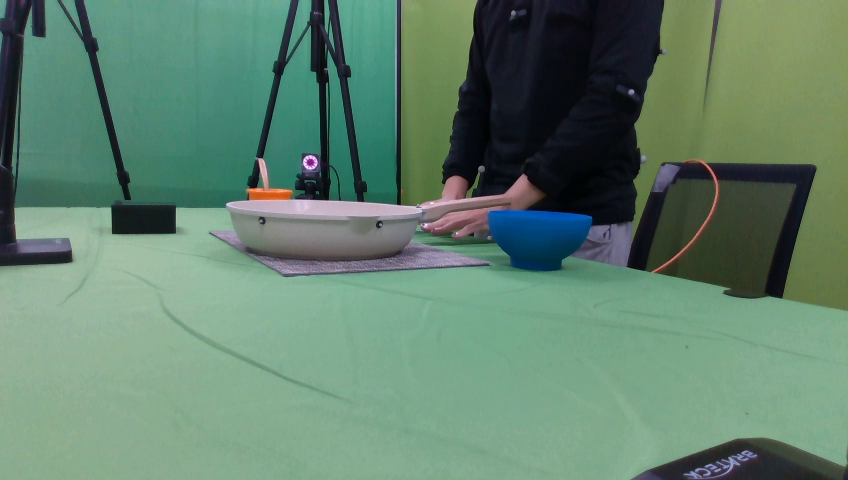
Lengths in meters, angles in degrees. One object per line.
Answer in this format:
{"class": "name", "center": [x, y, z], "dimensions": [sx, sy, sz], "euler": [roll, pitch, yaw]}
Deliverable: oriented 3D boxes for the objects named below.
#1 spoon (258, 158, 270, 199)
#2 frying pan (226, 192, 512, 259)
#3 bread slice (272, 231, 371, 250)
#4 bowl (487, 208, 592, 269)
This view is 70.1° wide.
{"class": "spoon", "center": [-0.332, -0.107, 1.269], "dimensions": [0.042, 0.021, 0.193], "euler": [0, 53, -23]}
{"class": "frying pan", "center": [-0.058, -0.041, 0.975], "dimensions": [0.490, 0.102, 0.305], "euler": [-11, 13, -26]}
{"class": "bread slice", "center": [-0.148, 0.000, 0.929], "dimensions": [0.133, 0.018, 0.107], "euler": [6, 8, 38]}
{"class": "bowl", "center": [0.164, -0.003, 0.875], "dimensions": [0.151, 0.077, 0.151], "euler": [2, 7, 0]}
